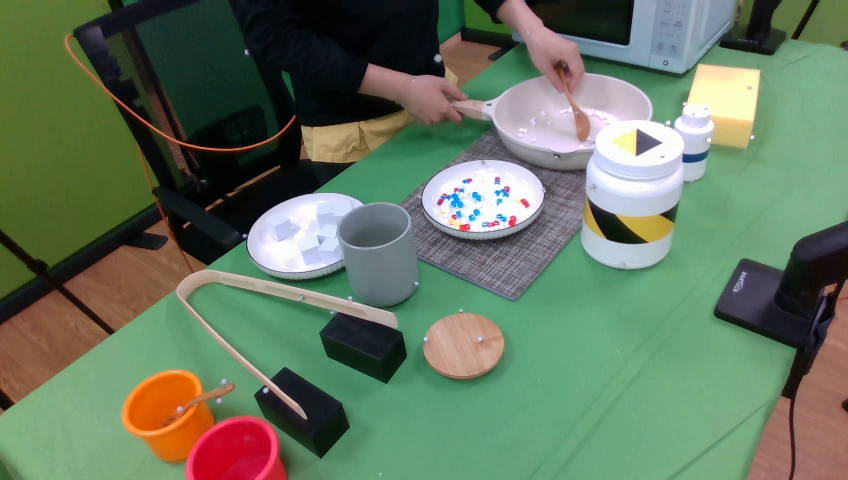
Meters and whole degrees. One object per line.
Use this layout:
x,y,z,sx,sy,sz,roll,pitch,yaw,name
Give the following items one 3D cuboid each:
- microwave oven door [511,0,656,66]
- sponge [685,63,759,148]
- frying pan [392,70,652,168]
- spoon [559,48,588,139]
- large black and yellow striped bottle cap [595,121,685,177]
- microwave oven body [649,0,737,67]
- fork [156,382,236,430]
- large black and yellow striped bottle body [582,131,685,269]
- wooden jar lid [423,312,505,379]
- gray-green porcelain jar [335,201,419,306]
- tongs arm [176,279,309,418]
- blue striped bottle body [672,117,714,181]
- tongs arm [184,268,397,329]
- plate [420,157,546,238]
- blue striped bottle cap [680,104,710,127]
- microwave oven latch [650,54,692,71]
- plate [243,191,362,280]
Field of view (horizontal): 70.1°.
0.351,-0.540,1.350,0.353,0.245,0.039,24,50,31,microwave oven door
0.569,-0.263,1.164,0.117,0.061,0.207,12,45,22,sponge
0.176,-0.248,1.165,0.487,0.103,0.306,12,42,9,frying pan
0.283,-0.285,1.168,0.041,0.022,0.193,-10,81,18,spoon
0.292,-0.126,0.821,0.115,0.019,0.114,-5,40,4,large black and yellow striped bottle cap
0.475,-0.602,1.411,0.438,0.261,0.327,23,50,32,microwave oven body
-0.262,0.189,0.690,0.018,0.206,0.028,49,43,-7,fork
0.301,-0.063,0.877,0.131,0.185,0.130,-4,41,4,large black and yellow striped bottle body
0.053,0.142,0.800,0.108,0.021,0.108,-5,39,4,wooden jar lid
-0.064,0.024,0.872,0.106,0.127,0.105,-4,41,4,gray-green porcelain jar
-0.255,0.132,0.801,0.028,0.028,0.384,-41,40,-23,tongs arm
0.449,-0.165,1.022,0.063,0.121,0.063,-5,41,4,blue striped bottle body
-0.202,0.084,0.848,0.382,0.027,0.051,11,44,35,tongs arm
0.099,-0.067,1.017,0.209,0.038,0.208,-4,40,4,plate
0.443,-0.204,0.989,0.044,0.021,0.044,-1,41,2,blue striped bottle cap
0.531,-0.386,1.301,0.078,0.029,0.030,24,50,32,microwave oven latch
-0.188,-0.005,0.992,0.207,0.039,0.206,-4,41,4,plate
